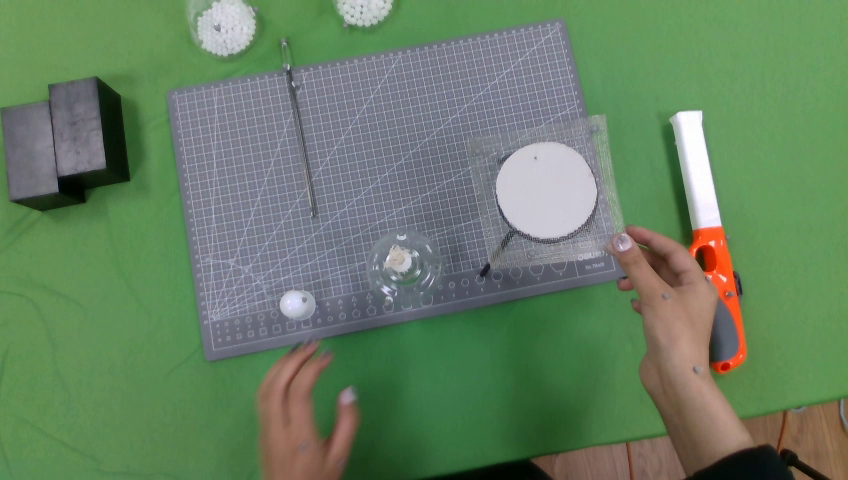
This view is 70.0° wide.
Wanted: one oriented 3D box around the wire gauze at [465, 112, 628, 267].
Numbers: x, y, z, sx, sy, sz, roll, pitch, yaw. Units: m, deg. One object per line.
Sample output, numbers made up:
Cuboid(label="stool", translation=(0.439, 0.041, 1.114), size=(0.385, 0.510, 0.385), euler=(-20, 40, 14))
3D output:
Cuboid(label="wire gauze", translation=(0.105, -0.043, 0.522), size=(0.125, 0.011, 0.121), euler=(-8, 84, -1))

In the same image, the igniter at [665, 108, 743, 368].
Cuboid(label="igniter", translation=(0.297, -0.005, 0.642), size=(0.057, 0.025, 0.275), euler=(-6, 82, -12))

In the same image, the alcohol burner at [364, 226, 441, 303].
Cuboid(label="alcohol burner", translation=(-0.022, 0.023, 0.590), size=(0.078, 0.119, 0.077), euler=(0, 84, 0))

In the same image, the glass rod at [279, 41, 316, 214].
Cuboid(label="glass rod", translation=(-0.138, -0.125, 0.661), size=(0.008, 0.008, 0.199), euler=(-12, 82, -2))

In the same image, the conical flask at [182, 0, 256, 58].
Cuboid(label="conical flask", translation=(-0.225, -0.246, 0.624), size=(0.075, 0.122, 0.075), euler=(0, 81, 0))

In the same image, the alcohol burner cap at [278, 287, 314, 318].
Cuboid(label="alcohol burner cap", translation=(-0.133, 0.063, 0.620), size=(0.034, 0.048, 0.033), euler=(0, 82, -1))

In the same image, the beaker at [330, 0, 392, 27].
Cuboid(label="beaker", translation=(-0.071, -0.282, 0.642), size=(0.074, 0.100, 0.083), euler=(-9, 81, -2))

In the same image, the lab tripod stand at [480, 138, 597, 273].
Cuboid(label="lab tripod stand", translation=(0.105, -0.031, 0.588), size=(0.148, 0.132, 0.148), euler=(0, 84, 0))
